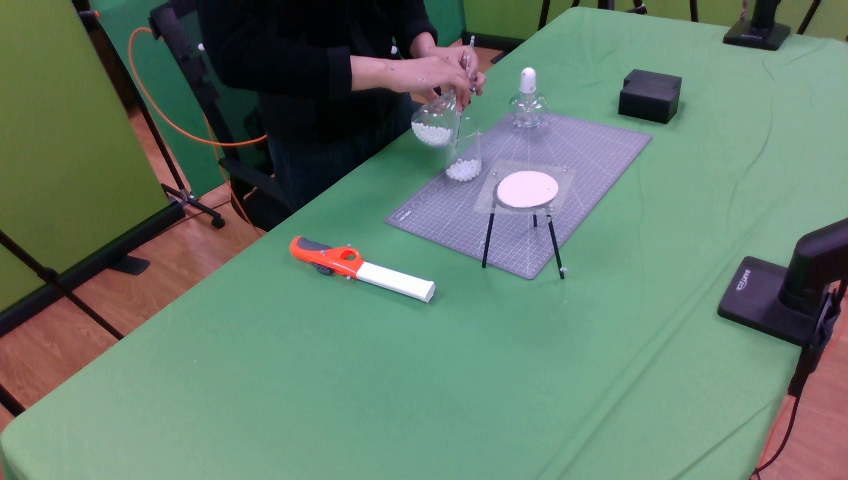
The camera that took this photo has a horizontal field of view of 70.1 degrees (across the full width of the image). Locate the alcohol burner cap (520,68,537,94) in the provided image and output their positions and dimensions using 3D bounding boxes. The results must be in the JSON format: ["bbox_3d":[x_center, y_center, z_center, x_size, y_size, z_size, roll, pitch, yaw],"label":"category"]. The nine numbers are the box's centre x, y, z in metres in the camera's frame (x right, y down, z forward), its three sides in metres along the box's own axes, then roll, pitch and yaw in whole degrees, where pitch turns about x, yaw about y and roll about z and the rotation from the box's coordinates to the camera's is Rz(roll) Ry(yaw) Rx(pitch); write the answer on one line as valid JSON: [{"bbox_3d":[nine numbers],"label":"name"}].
[{"bbox_3d":[0.205,-0.313,1.183,0.034,0.048,0.033,-3,50,4],"label":"alcohol burner cap"}]

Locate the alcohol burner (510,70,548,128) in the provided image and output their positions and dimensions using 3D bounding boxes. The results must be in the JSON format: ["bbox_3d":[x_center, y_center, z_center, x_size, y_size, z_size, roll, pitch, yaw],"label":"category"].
[{"bbox_3d":[0.209,-0.287,1.207,0.078,0.119,0.077,-5,42,5],"label":"alcohol burner"}]

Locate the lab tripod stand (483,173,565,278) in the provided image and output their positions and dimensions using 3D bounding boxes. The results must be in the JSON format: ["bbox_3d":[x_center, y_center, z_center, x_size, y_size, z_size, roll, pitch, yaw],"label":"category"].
[{"bbox_3d":[0.151,-0.025,0.896,0.148,0.132,0.147,-7,40,6],"label":"lab tripod stand"}]

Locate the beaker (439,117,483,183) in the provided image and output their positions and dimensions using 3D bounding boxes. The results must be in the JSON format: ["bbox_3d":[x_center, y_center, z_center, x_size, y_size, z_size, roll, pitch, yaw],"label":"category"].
[{"bbox_3d":[0.068,-0.160,1.097,0.073,0.101,0.084,7,43,19],"label":"beaker"}]

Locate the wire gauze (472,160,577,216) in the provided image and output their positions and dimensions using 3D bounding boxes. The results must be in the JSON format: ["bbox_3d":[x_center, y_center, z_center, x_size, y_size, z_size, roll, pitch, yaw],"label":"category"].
[{"bbox_3d":[0.143,-0.073,0.850,0.121,0.011,0.125,8,43,22],"label":"wire gauze"}]

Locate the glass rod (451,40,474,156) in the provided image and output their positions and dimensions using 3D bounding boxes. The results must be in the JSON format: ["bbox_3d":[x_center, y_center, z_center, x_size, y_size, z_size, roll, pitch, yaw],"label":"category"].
[{"bbox_3d":[0.066,-0.245,1.053,0.008,0.199,0.008,9,10,-1],"label":"glass rod"}]

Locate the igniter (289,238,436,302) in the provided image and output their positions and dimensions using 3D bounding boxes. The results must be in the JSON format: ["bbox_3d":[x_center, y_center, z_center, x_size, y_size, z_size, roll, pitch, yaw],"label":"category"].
[{"bbox_3d":[-0.106,0.043,0.949,0.274,0.025,0.057,16,57,27],"label":"igniter"}]

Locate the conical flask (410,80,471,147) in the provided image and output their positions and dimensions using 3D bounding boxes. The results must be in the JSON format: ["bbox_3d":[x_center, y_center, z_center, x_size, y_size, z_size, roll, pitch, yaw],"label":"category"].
[{"bbox_3d":[0.035,-0.217,1.001,0.075,0.076,0.122,15,52,27],"label":"conical flask"}]
